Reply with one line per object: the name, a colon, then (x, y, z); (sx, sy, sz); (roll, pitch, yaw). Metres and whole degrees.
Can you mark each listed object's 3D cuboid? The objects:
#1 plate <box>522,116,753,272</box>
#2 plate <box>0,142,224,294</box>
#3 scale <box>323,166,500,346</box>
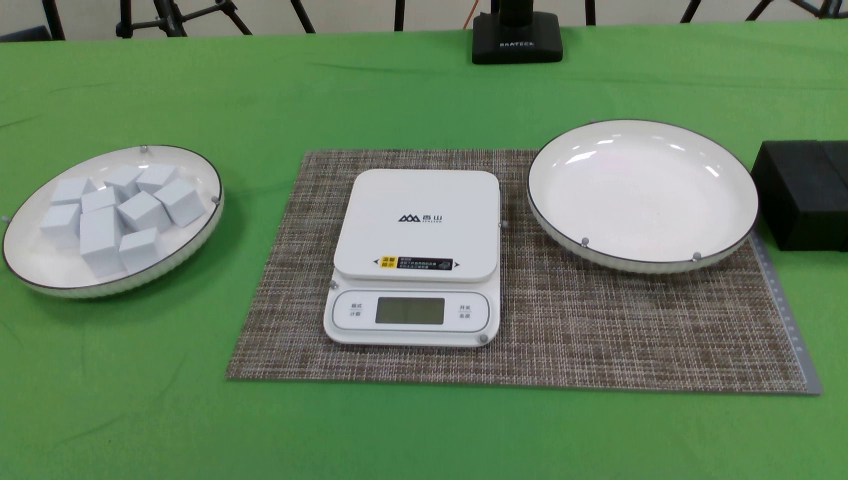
plate: (0.198, -0.044, 0.581); (0.207, 0.039, 0.205); (-2, 46, 3)
plate: (-0.302, -0.022, 0.607); (0.209, 0.038, 0.207); (-2, 46, 2)
scale: (-0.006, 0.006, 0.554); (0.148, 0.032, 0.199); (1, 47, 6)
